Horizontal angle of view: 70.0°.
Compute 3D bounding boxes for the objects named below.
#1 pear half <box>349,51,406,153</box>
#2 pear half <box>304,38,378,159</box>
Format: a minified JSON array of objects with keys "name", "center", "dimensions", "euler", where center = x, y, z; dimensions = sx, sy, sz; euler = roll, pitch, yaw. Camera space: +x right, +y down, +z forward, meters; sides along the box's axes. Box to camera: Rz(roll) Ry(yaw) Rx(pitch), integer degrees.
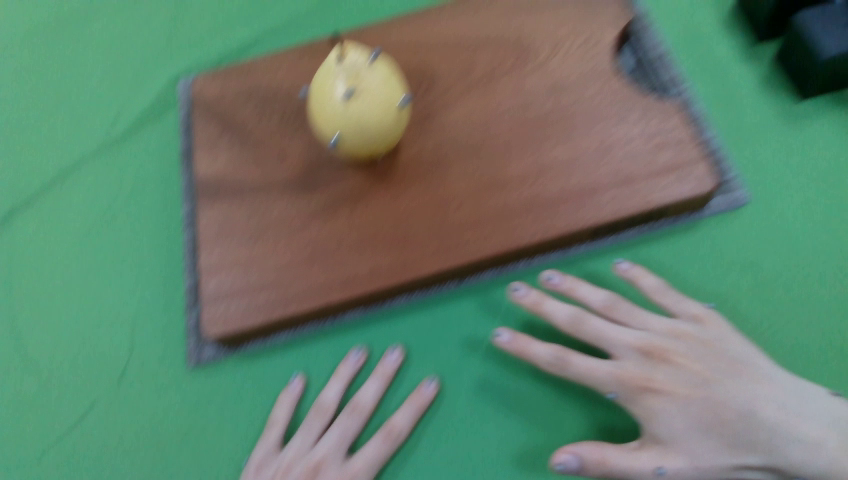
[{"name":"pear half","center":[-0.032,-0.110,0.471],"dimensions":[0.031,0.089,0.070],"euler":[-9,55,7]},{"name":"pear half","center":[-0.069,-0.112,0.466],"dimensions":[0.056,0.111,0.075],"euler":[-8,57,7]}]
